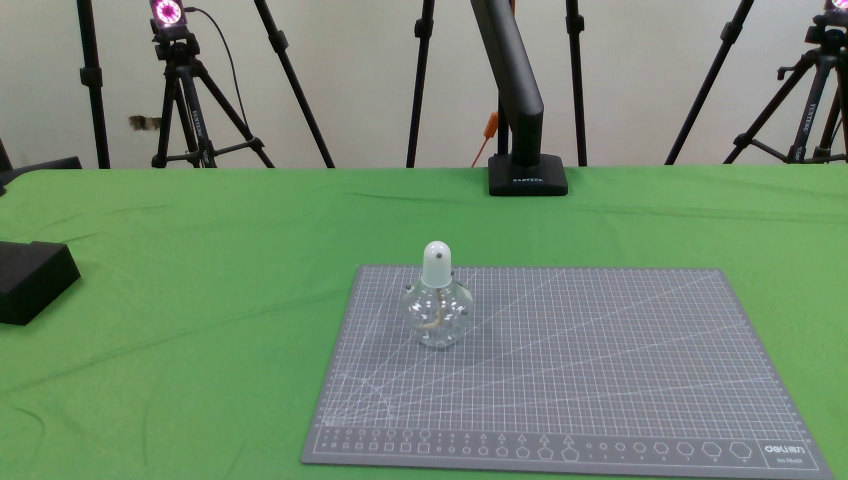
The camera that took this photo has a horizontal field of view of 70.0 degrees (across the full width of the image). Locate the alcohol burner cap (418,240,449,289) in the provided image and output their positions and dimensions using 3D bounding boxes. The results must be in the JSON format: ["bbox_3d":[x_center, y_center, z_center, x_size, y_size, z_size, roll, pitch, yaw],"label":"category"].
[{"bbox_3d":[0.011,0.022,0.617,0.034,0.048,0.033,3,35,-2],"label":"alcohol burner cap"}]

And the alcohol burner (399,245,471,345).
[{"bbox_3d":[0.011,0.053,0.637,0.078,0.120,0.077,0,35,1],"label":"alcohol burner"}]
